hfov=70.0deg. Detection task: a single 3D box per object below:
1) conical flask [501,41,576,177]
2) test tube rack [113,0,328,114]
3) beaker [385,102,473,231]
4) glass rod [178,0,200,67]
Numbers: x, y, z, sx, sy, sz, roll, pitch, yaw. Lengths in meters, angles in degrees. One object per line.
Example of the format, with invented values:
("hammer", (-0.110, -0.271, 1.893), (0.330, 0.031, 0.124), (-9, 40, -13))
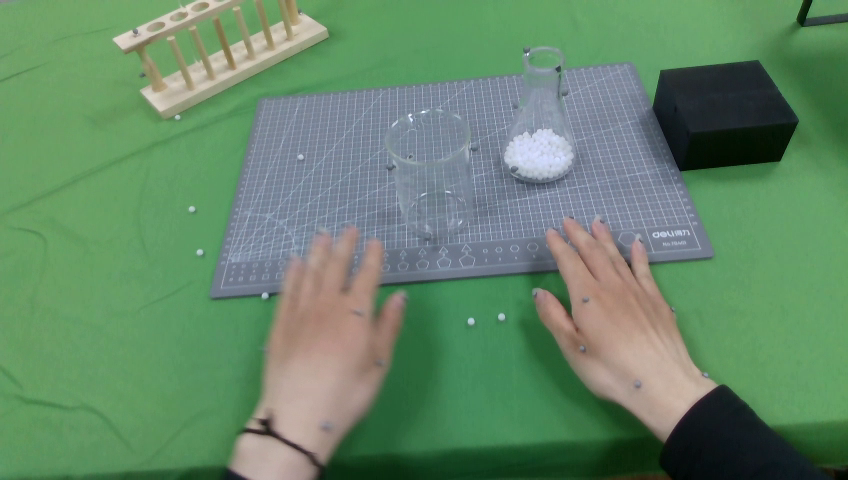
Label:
("conical flask", (0.111, -0.126, 0.577), (0.075, 0.123, 0.074), (-3, 50, 5))
("test tube rack", (-0.246, -0.262, 0.761), (0.242, 0.086, 0.066), (-35, 55, -21))
("beaker", (0.006, -0.064, 0.553), (0.074, 0.101, 0.083), (-24, 50, -13))
("glass rod", (-0.289, -0.296, 0.709), (0.008, 0.201, 0.008), (1, 43, 0))
